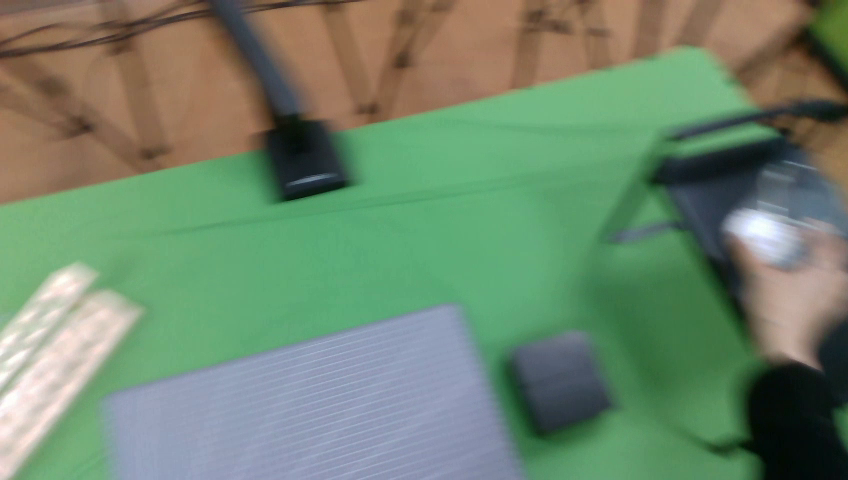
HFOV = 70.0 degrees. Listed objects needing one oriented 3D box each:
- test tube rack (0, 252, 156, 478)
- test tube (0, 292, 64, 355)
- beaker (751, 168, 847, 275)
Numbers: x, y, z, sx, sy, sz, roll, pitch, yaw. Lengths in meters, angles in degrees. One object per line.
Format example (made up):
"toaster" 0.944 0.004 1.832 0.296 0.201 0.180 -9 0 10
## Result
"test tube rack" -0.428 0.140 0.692 0.066 0.086 0.241 28 64 10
"test tube" -0.432 0.093 0.660 0.017 0.151 0.017 2 59 -3
"beaker" 0.389 -0.013 0.618 0.084 0.101 0.073 -25 67 -14
